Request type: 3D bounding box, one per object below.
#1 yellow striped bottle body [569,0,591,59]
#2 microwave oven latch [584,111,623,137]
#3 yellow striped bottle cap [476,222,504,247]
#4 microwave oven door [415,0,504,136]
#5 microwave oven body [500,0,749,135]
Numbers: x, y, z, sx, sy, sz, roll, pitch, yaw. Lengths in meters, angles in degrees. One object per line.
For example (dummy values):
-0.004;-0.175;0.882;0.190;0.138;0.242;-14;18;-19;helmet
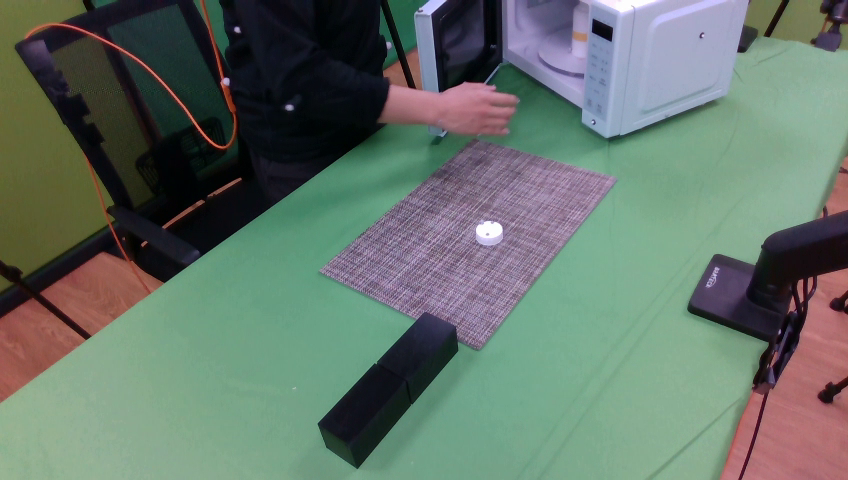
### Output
0.337;-0.448;1.265;0.063;0.121;0.062;-8;43;8;yellow striped bottle body
0.337;-0.222;1.142;0.030;0.029;0.078;-21;42;-14;microwave oven latch
0.105;-0.010;0.966;0.044;0.019;0.044;-4;39;3;yellow striped bottle cap
0.084;-0.409;1.239;0.039;0.245;0.356;13;45;23;microwave oven door
0.381;-0.444;1.246;0.327;0.261;0.437;-22;42;-16;microwave oven body
